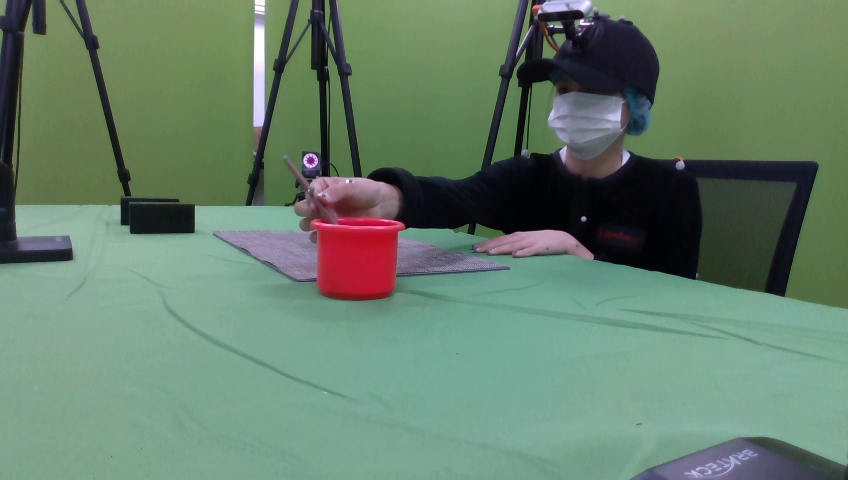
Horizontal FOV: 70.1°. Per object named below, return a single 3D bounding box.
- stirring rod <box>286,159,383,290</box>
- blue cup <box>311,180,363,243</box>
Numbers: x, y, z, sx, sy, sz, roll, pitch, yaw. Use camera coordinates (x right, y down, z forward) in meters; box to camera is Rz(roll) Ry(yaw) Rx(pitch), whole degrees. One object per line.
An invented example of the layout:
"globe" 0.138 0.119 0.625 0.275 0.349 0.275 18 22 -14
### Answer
"stirring rod" -0.096 -0.018 0.636 0.006 0.175 0.014 -38 -12 5
"blue cup" -0.144 -0.047 0.997 0.093 0.100 0.092 2 6 0
